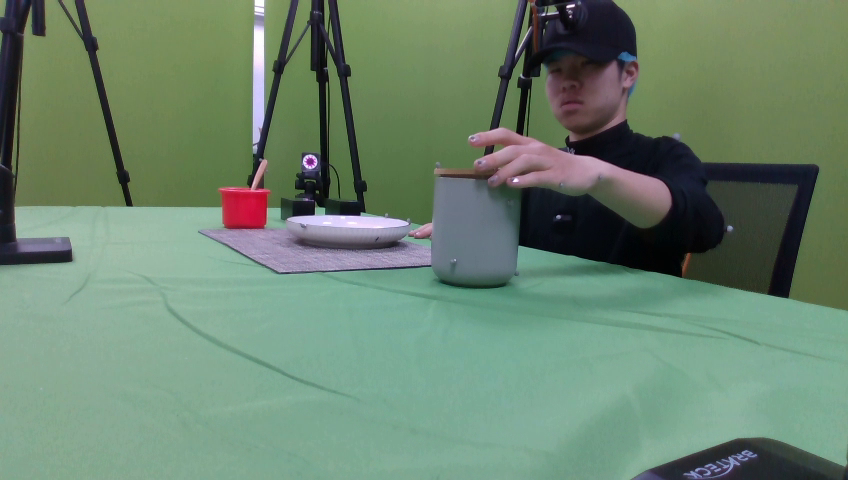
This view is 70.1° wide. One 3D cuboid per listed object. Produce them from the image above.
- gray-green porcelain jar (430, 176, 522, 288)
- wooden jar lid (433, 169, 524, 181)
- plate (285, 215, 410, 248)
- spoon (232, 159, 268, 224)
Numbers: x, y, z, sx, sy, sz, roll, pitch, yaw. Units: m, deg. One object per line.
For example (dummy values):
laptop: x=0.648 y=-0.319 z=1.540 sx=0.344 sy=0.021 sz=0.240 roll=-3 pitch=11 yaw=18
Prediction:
gray-green porcelain jar: x=0.061 y=-0.011 z=0.725 sx=0.106 sy=0.126 sz=0.106 roll=3 pitch=7 yaw=0
wooden jar lid: x=0.064 y=-0.074 z=0.717 sx=0.108 sy=0.020 sz=0.108 roll=-1 pitch=5 yaw=0
plate: x=-0.127 y=-0.015 z=1.012 sx=0.208 sy=0.039 sz=0.207 roll=3 pitch=7 yaw=0
spoon: x=-0.343 y=-0.101 z=1.218 sx=0.041 sy=0.021 sz=0.193 roll=4 pitch=51 yaw=4
